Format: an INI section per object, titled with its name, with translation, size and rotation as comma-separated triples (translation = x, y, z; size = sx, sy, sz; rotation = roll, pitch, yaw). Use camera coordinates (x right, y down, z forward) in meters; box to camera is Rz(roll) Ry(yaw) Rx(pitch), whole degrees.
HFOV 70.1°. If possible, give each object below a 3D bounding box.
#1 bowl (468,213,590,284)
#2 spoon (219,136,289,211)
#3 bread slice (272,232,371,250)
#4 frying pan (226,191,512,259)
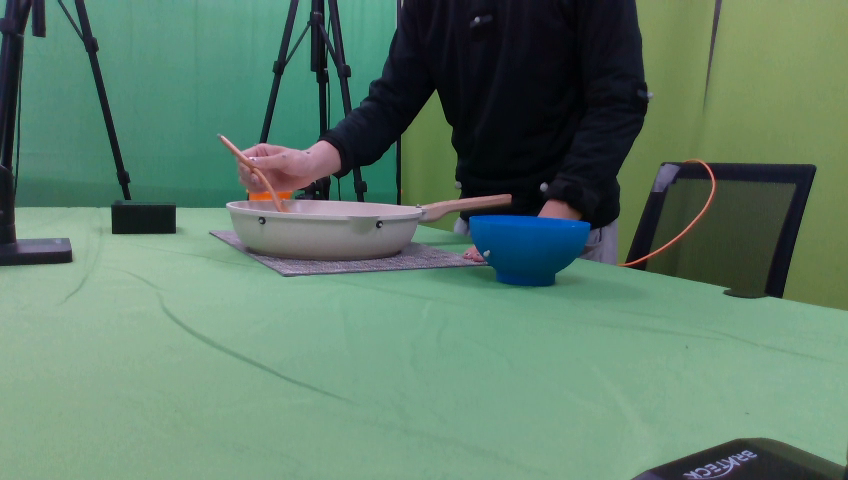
[bowl]
translation = 0.128, 0.011, 0.755
size = 0.151, 0.077, 0.151
rotation = 2, 7, 0
[spoon]
translation = -0.248, -0.090, 0.927
size = 0.021, 0.193, 0.041
rotation = -40, -2, 10
[bread slice]
translation = -0.148, 0.001, 0.929
size = 0.133, 0.018, 0.107
rotation = 5, 7, 38
[frying pan]
translation = -0.058, -0.041, 0.974
size = 0.490, 0.102, 0.305
rotation = -11, 13, -26
